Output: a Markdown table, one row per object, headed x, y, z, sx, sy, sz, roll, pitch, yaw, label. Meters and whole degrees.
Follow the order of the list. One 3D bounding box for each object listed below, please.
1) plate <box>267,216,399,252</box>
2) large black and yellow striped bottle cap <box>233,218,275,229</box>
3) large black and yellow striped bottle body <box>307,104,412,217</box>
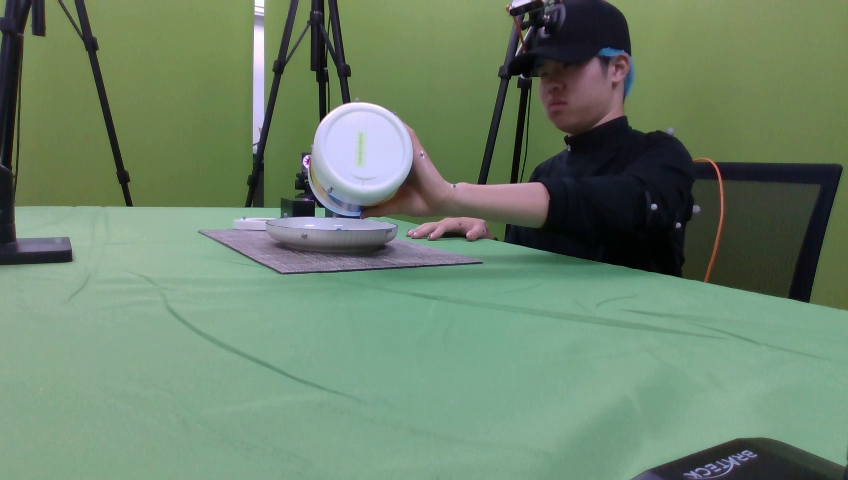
| x | y | z | sx | sy | sz | roll | pitch | yaw | label |
| --- | --- | --- | --- | --- | --- | --- | --- | --- | --- |
| -0.145 | -0.010 | 0.967 | 0.208 | 0.039 | 0.207 | 2 | 7 | 0 | plate |
| -0.311 | -0.032 | 1.172 | 0.115 | 0.019 | 0.115 | 1 | 4 | 0 | large black and yellow striped bottle cap |
| -0.099 | -0.105 | 0.865 | 0.131 | 0.130 | 0.183 | 1 | -8 | -14 | large black and yellow striped bottle body |
